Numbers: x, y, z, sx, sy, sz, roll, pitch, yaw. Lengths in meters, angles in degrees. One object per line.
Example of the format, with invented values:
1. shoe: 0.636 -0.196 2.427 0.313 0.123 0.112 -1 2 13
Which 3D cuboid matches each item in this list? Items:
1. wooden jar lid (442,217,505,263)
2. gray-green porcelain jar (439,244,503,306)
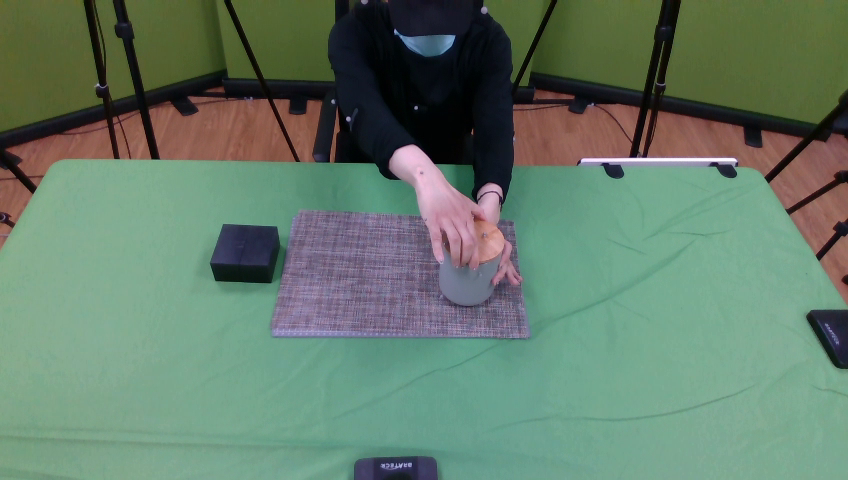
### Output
1. wooden jar lid: 0.084 0.003 1.033 0.108 0.021 0.107 1 44 -1
2. gray-green porcelain jar: 0.081 0.046 1.078 0.106 0.127 0.105 2 46 -2
